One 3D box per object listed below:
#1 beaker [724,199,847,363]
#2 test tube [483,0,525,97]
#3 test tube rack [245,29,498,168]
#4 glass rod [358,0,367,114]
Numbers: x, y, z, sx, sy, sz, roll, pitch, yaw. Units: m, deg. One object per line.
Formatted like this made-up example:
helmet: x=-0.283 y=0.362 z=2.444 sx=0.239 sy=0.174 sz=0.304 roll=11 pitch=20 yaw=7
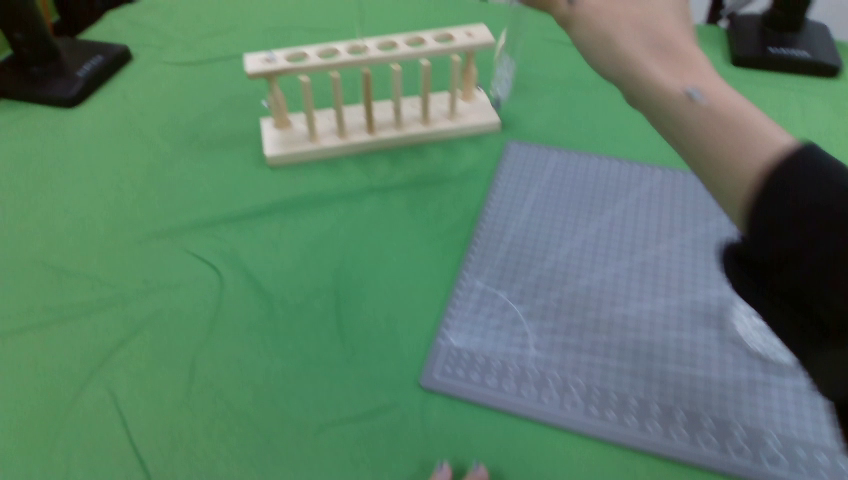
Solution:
beaker: x=0.259 y=0.033 z=0.425 sx=0.084 sy=0.101 sz=0.073 roll=-2 pitch=46 yaw=0
test tube: x=0.054 y=-0.152 z=0.361 sx=0.017 sy=0.151 sz=0.017 roll=4 pitch=46 yaw=-4
test tube rack: x=-0.047 y=-0.144 z=0.612 sx=0.243 sy=0.086 sz=0.066 roll=-10 pitch=47 yaw=-9
glass rod: x=-0.058 y=-0.192 z=0.566 sx=0.008 sy=0.201 sz=0.008 roll=2 pitch=50 yaw=-2
